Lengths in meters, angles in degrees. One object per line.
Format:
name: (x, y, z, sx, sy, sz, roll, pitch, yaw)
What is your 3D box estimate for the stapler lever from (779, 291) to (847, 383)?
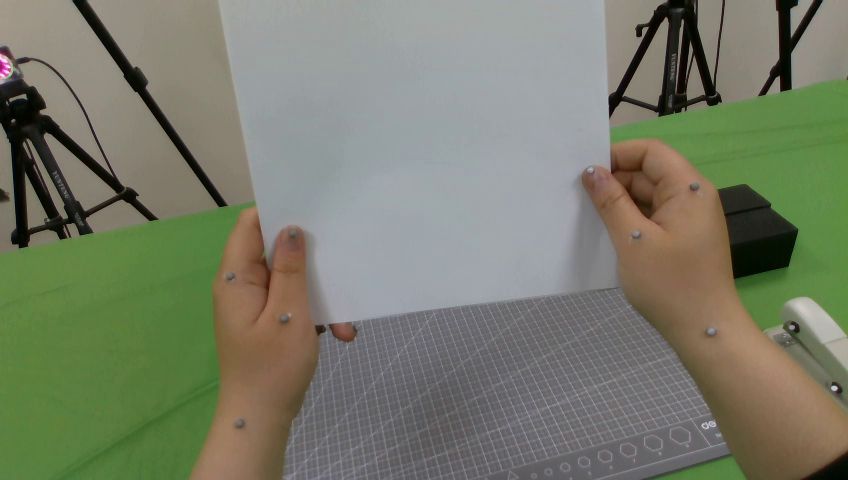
stapler lever: (0.357, 0.090, 0.524, 0.027, 0.040, 0.116, -15, 36, -7)

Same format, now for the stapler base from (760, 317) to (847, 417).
stapler base: (0.359, 0.109, 0.539, 0.041, 0.024, 0.129, -15, 37, -7)
